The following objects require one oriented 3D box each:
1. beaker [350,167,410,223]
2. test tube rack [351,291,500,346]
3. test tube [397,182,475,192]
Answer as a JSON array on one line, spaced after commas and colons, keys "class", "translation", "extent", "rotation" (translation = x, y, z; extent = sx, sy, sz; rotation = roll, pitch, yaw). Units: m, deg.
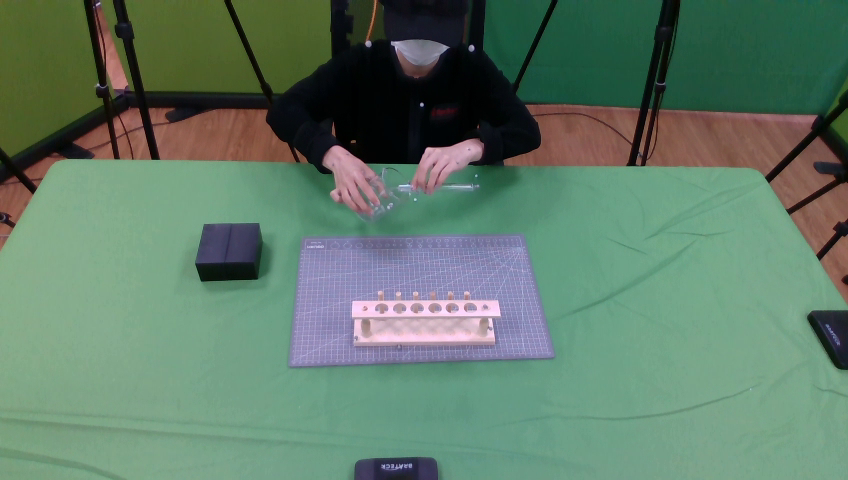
[{"class": "beaker", "translation": [-0.086, -0.083, 1.163], "extent": [0.084, 0.100, 0.073], "rotation": [2, 62, -52]}, {"class": "test tube rack", "translation": [0.001, 0.129, 1.026], "extent": [0.242, 0.085, 0.066], "rotation": [0, 46, -4]}, {"class": "test tube", "translation": [0.021, -0.098, 1.124], "extent": [0.150, 0.017, 0.017], "rotation": [0, 44, 18]}]
